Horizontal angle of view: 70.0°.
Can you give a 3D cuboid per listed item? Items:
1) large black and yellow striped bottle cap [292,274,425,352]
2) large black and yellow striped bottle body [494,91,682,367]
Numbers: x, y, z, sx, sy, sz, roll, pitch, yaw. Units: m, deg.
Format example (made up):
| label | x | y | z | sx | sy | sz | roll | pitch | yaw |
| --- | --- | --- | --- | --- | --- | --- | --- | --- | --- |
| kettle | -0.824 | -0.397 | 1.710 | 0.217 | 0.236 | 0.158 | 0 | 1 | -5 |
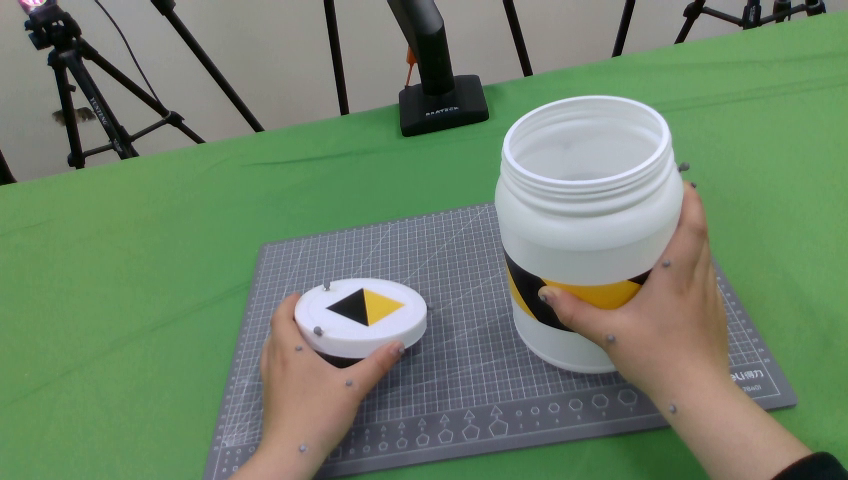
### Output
| label | x | y | z | sx | sy | sz | roll | pitch | yaw |
| --- | --- | --- | --- | --- | --- | --- | --- | --- | --- |
| large black and yellow striped bottle cap | -0.056 | 0.060 | 0.527 | 0.115 | 0.019 | 0.114 | 3 | 22 | -1 |
| large black and yellow striped bottle body | 0.124 | -0.006 | 0.463 | 0.130 | 0.186 | 0.129 | -9 | 41 | 8 |
